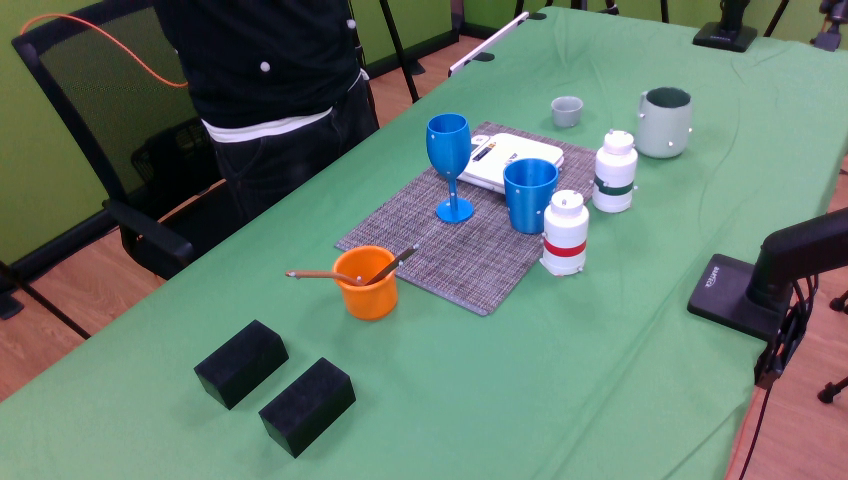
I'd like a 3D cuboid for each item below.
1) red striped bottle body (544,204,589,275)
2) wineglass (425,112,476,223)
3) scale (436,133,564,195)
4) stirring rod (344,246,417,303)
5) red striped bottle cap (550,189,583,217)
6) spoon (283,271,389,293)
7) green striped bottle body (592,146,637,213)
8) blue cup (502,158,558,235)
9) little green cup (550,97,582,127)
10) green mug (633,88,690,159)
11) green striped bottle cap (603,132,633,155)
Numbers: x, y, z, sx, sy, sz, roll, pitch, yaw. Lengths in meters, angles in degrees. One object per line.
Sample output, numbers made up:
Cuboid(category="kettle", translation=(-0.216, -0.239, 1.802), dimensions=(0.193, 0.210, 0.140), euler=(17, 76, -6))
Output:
Cuboid(category="red striped bottle body", translation=(0.206, -0.011, 0.877), dimensions=(0.063, 0.120, 0.062), euler=(-4, 41, 4))
Cuboid(category="wineglass", translation=(0.043, -0.114, 0.972), dimensions=(0.074, 0.173, 0.073), euler=(-4, 41, 4))
Cuboid(category="scale", translation=(0.137, -0.142, 1.101), dimensions=(0.199, 0.032, 0.149), euler=(22, 48, 30))
Cuboid(category="stirring rod", translation=(-0.062, 0.050, 0.819), dimensions=(0.014, 0.175, 0.006), euler=(-1, 63, -40))
Cuboid(category="red striped bottle cap", translation=(0.199, -0.052, 0.843), dimensions=(0.044, 0.018, 0.044), euler=(-2, 42, 2))
Cuboid(category="spoon", translation=(-0.117, 0.054, 0.825), dimensions=(0.041, 0.195, 0.021), euler=(17, 89, 38))
Cuboid(category="green striped bottle body", translation=(0.307, -0.108, 0.976), dimensions=(0.063, 0.120, 0.063), euler=(-4, 41, 4))
Cuboid(category="blue cup", translation=(0.168, -0.064, 0.954), dimensions=(0.092, 0.100, 0.092), euler=(-5, 38, 5))
Cuboid(category="little green cup", translation=(0.284, -0.255, 1.213), dimensions=(0.061, 0.039, 0.061), euler=(-4, 41, 4))
Cuboid(category="green mug", translation=(0.423, -0.217, 1.099), dimensions=(0.093, 0.105, 0.124), euler=(-16, 41, -10))
Cuboid(category="green striped bottle cap", translation=(0.302, -0.149, 0.939), dimensions=(0.044, 0.020, 0.044), euler=(-3, 40, 3))
